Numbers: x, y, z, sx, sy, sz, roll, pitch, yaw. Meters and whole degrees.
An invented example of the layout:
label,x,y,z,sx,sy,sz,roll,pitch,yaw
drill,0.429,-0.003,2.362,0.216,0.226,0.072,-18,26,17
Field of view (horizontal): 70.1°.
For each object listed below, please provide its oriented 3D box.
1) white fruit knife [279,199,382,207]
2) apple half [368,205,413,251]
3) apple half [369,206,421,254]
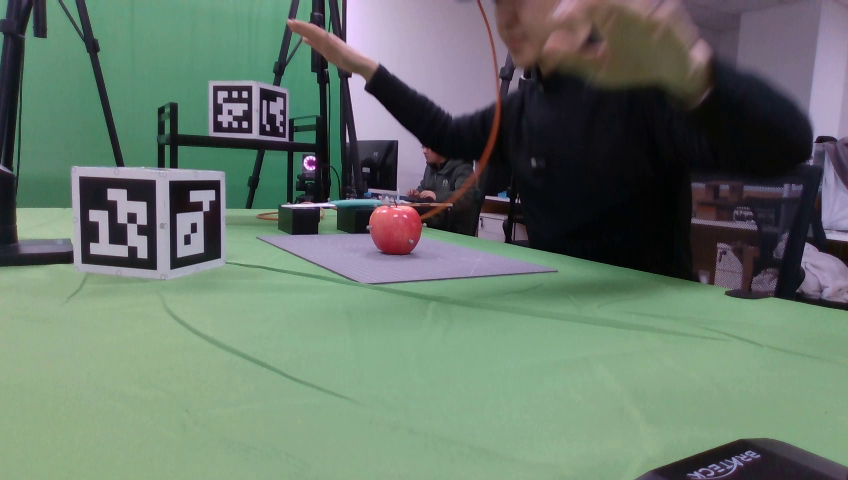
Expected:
label,x,y,z,sx,sy,sz,roll,pitch,yaw
white fruit knife,-0.182,-0.072,1.188,0.208,0.016,0.027,-3,17,-31
apple half,-0.059,-0.020,0.951,0.082,0.081,0.032,-2,14,-32
apple half,-0.038,-0.014,0.919,0.081,0.074,0.053,3,10,-32
